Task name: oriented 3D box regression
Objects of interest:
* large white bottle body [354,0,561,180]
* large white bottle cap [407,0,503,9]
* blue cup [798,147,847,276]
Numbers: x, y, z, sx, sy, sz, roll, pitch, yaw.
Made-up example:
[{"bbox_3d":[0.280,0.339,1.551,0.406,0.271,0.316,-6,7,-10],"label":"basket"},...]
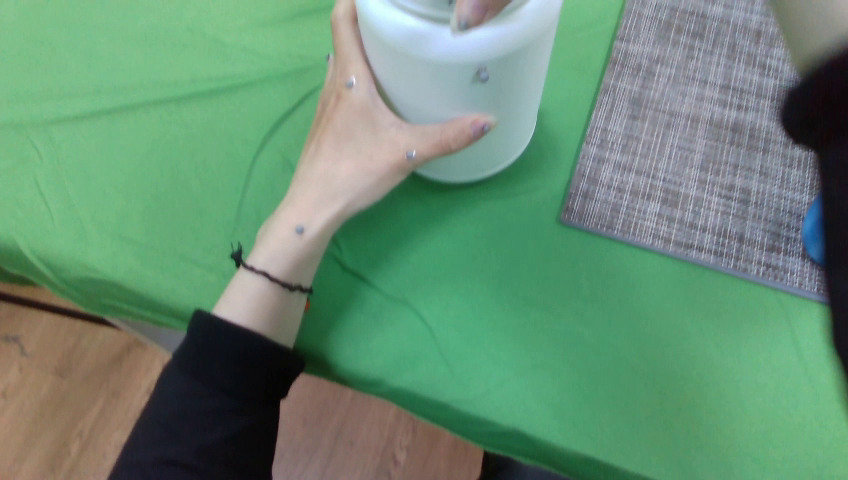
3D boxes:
[{"bbox_3d":[0.022,-0.141,0.413,0.130,0.186,0.129,-1,64,2],"label":"large white bottle body"},{"bbox_3d":[0.018,-0.176,0.336,0.115,0.018,0.114,0,65,1],"label":"large white bottle cap"},{"bbox_3d":[0.299,-0.023,0.394,0.092,0.101,0.092,-1,64,3],"label":"blue cup"}]
